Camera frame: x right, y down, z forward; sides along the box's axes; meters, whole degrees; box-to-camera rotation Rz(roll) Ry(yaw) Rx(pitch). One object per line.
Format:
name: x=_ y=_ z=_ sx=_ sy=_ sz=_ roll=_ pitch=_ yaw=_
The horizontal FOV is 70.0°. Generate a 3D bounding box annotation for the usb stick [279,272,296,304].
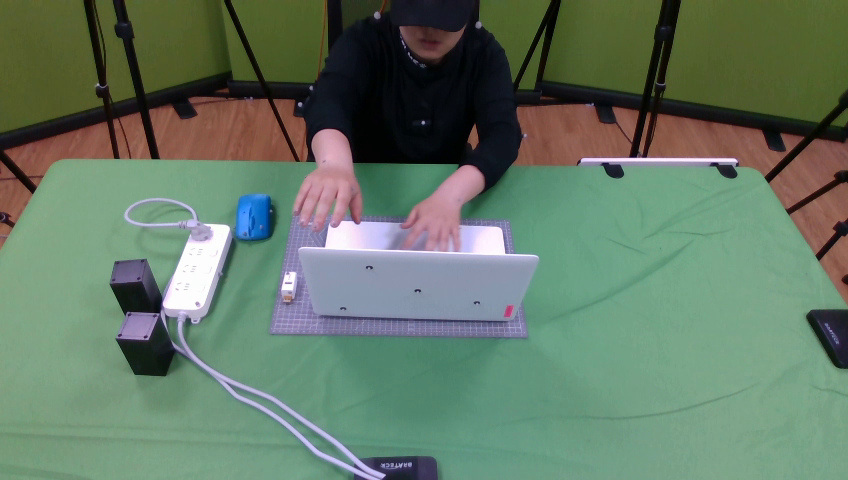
usb stick: x=-0.246 y=0.088 z=1.085 sx=0.021 sy=0.027 sz=0.059 roll=4 pitch=46 yaw=-2

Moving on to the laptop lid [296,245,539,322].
laptop lid: x=-0.013 y=0.076 z=0.961 sx=0.357 sy=0.243 sz=0.013 roll=3 pitch=58 yaw=-3

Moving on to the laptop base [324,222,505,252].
laptop base: x=-0.018 y=0.055 z=1.144 sx=0.354 sy=0.023 sz=0.234 roll=2 pitch=42 yaw=-2

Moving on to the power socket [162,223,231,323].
power socket: x=-0.412 y=0.052 z=1.106 sx=0.072 sy=0.033 sz=0.225 roll=4 pitch=46 yaw=-2

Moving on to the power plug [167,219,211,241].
power plug: x=-0.438 y=-0.017 z=1.143 sx=0.072 sy=0.053 sz=0.035 roll=9 pitch=43 yaw=6

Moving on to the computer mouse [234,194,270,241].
computer mouse: x=-0.341 y=-0.049 z=1.208 sx=0.063 sy=0.041 sz=0.116 roll=0 pitch=50 yaw=-7
